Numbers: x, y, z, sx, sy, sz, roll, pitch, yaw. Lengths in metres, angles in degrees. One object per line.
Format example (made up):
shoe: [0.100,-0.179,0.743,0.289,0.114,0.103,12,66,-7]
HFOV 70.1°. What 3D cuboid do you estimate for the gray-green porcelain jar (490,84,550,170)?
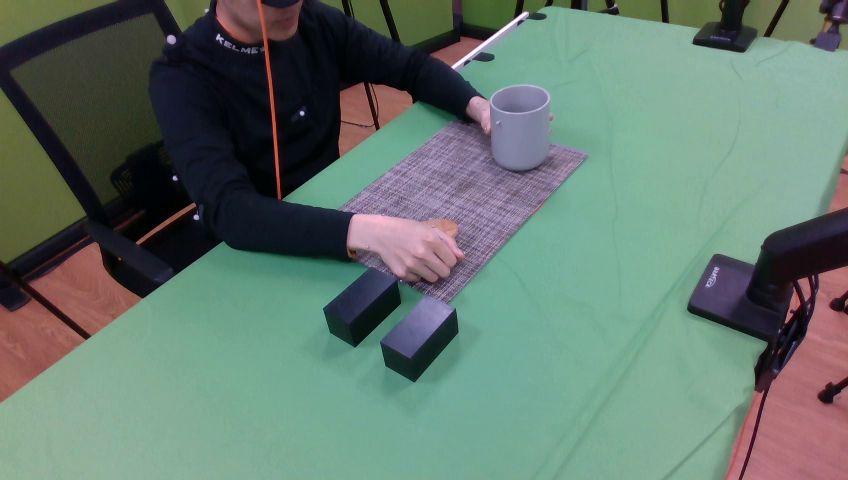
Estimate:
gray-green porcelain jar: [0.173,-0.199,1.087,0.106,0.127,0.105,-4,42,4]

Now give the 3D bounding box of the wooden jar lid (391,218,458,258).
wooden jar lid: [0.002,-0.002,0.946,0.108,0.021,0.108,-13,23,7]
